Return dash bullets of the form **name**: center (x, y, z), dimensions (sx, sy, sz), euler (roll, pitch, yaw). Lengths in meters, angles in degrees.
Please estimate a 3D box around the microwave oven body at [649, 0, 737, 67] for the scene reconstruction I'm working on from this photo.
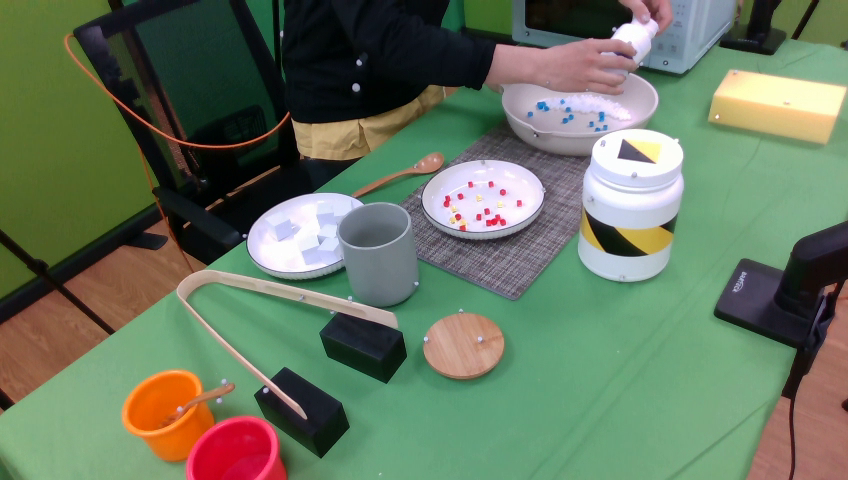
- **microwave oven body**: center (0.475, -0.602, 1.411), dimensions (0.438, 0.261, 0.327), euler (23, 50, 32)

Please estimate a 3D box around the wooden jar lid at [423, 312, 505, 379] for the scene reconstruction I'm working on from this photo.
- **wooden jar lid**: center (0.053, 0.142, 0.800), dimensions (0.108, 0.021, 0.108), euler (-5, 39, 4)

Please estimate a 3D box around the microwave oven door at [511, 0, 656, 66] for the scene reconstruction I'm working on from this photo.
- **microwave oven door**: center (0.351, -0.540, 1.349), dimensions (0.353, 0.245, 0.039), euler (24, 50, 31)

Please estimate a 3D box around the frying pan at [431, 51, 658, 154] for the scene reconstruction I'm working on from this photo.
- **frying pan**: center (0.216, -0.302, 1.223), dimensions (0.484, 0.103, 0.308), euler (29, 50, 24)

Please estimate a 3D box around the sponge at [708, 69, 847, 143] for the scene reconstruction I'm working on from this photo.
- **sponge**: center (0.663, -0.256, 1.141), dimensions (0.205, 0.061, 0.118), euler (18, 47, 28)

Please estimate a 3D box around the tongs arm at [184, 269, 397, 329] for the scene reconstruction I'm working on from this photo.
- **tongs arm**: center (-0.202, 0.085, 0.848), dimensions (0.382, 0.027, 0.051), euler (11, 44, 35)

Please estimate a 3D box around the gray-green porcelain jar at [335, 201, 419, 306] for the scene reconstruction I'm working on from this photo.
- **gray-green porcelain jar**: center (-0.064, 0.024, 0.872), dimensions (0.106, 0.127, 0.105), euler (-4, 41, 4)

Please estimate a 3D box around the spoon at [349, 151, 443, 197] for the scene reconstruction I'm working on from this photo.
- **spoon**: center (-0.051, -0.122, 1.120), dimensions (0.194, 0.022, 0.041), euler (-22, 59, -18)

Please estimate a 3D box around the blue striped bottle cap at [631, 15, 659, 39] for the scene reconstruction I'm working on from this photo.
- **blue striped bottle cap**: center (0.362, -0.350, 0.993), dimensions (0.044, 0.045, 0.020), euler (32, 97, 36)

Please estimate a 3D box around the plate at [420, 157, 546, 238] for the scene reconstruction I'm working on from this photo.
- **plate**: center (0.099, -0.067, 1.017), dimensions (0.209, 0.038, 0.208), euler (-4, 40, 4)

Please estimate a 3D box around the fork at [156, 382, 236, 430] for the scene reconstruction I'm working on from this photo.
- **fork**: center (-0.262, 0.189, 0.690), dimensions (0.018, 0.206, 0.028), euler (49, 43, -7)

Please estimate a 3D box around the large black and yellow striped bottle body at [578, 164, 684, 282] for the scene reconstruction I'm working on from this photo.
- **large black and yellow striped bottle body**: center (0.292, -0.046, 0.859), dimensions (0.131, 0.185, 0.130), euler (-4, 41, 4)

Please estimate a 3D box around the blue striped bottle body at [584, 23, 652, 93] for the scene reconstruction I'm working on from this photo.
- **blue striped bottle body**: center (0.324, -0.306, 0.992), dimensions (0.121, 0.063, 0.062), euler (-49, 50, -2)

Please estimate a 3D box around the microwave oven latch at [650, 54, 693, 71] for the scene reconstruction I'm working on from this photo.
- **microwave oven latch**: center (0.531, -0.386, 1.301), dimensions (0.078, 0.029, 0.030), euler (26, 51, 33)

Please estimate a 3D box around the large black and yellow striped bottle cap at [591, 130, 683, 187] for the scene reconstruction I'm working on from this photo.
- **large black and yellow striped bottle cap**: center (0.282, -0.111, 0.803), dimensions (0.115, 0.019, 0.114), euler (-3, 41, 3)

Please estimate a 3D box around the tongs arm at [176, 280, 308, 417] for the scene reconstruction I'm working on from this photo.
- **tongs arm**: center (-0.255, 0.132, 0.800), dimensions (0.028, 0.028, 0.384), euler (-41, 40, -23)

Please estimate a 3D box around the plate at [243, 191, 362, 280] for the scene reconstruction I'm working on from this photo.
- **plate**: center (-0.187, -0.005, 0.992), dimensions (0.207, 0.039, 0.206), euler (-4, 40, 3)
